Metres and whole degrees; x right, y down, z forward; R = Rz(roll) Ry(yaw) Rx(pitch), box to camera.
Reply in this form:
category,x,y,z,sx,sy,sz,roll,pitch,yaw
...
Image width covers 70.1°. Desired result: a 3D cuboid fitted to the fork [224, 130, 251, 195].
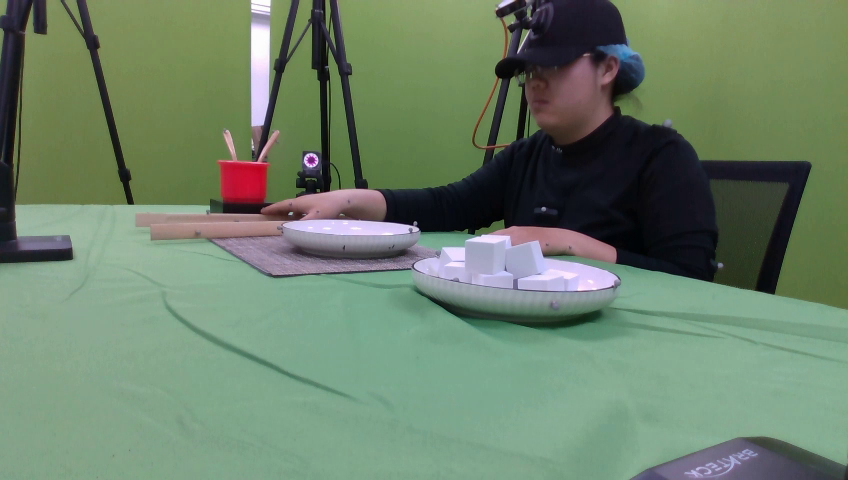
category,x,y,z,sx,sy,sz,roll,pitch,yaw
fork,-0.372,-0.155,1.193,0.028,0.018,0.206,-17,54,-13

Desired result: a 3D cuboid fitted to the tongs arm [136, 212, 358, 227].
category,x,y,z,sx,sy,sz,roll,pitch,yaw
tongs arm,-0.308,-0.034,1.100,0.387,0.026,0.050,-1,7,-29

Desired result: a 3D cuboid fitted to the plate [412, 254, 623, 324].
category,x,y,z,sx,sy,sz,roll,pitch,yaw
plate,0.090,0.047,0.609,0.209,0.038,0.209,2,7,0

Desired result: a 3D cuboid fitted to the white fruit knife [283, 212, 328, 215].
category,x,y,z,sx,sy,sz,roll,pitch,yaw
white fruit knife,-0.304,-0.050,1.328,0.208,0.016,0.027,-3,-20,-29

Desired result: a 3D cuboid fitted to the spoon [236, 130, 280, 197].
category,x,y,z,sx,sy,sz,roll,pitch,yaw
spoon,-0.321,-0.153,1.192,0.041,0.193,0.022,0,-37,19

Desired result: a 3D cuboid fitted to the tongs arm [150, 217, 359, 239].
category,x,y,z,sx,sy,sz,roll,pitch,yaw
tongs arm,-0.265,-0.023,1.034,0.390,0.028,0.028,-3,5,-41

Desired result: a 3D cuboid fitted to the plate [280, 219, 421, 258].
category,x,y,z,sx,sy,sz,roll,pitch,yaw
plate,-0.108,-0.002,0.902,0.208,0.039,0.207,3,7,0
